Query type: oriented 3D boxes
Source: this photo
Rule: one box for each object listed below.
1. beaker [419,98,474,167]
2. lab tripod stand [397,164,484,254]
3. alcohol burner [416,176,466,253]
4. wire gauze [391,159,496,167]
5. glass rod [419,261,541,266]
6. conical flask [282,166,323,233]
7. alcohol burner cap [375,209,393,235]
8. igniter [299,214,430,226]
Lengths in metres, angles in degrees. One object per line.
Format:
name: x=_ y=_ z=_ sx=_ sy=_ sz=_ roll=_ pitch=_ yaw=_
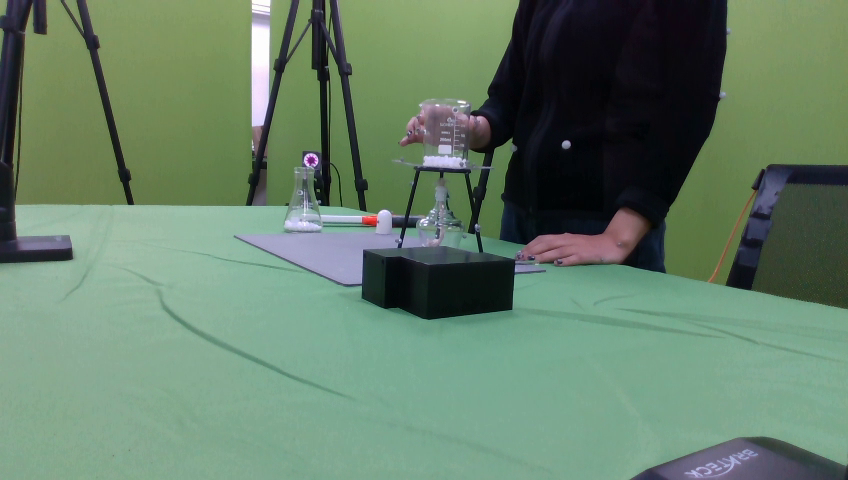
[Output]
beaker: x=0.032 y=-0.161 z=0.913 sx=0.084 sy=0.100 sz=0.074 roll=1 pitch=6 yaw=-10
lab tripod stand: x=0.029 y=-0.049 z=0.930 sx=0.148 sy=0.131 sz=0.148 roll=4 pitch=6 yaw=0
alcohol burner: x=0.027 y=-0.039 z=0.934 sx=0.078 sy=0.119 sz=0.078 roll=2 pitch=9 yaw=0
wire gauze: x=0.032 y=-0.114 z=0.923 sx=0.124 sy=0.011 sz=0.122 roll=5 pitch=5 yaw=32
glass rod: x=0.080 y=0.031 z=0.807 sx=0.201 sy=0.008 sz=0.008 roll=1 pitch=6 yaw=-32
conical flask: x=-0.225 y=-0.076 z=1.129 sx=0.075 sy=0.122 sz=0.075 roll=2 pitch=8 yaw=0
alcohol burner cap: x=-0.075 y=-0.035 z=1.150 sx=0.034 sy=0.048 sz=0.034 roll=3 pitch=7 yaw=0
igniter: x=-0.123 y=-0.044 z=1.281 sx=0.278 sy=0.025 sz=0.057 roll=0 pitch=-2 yaw=-19
